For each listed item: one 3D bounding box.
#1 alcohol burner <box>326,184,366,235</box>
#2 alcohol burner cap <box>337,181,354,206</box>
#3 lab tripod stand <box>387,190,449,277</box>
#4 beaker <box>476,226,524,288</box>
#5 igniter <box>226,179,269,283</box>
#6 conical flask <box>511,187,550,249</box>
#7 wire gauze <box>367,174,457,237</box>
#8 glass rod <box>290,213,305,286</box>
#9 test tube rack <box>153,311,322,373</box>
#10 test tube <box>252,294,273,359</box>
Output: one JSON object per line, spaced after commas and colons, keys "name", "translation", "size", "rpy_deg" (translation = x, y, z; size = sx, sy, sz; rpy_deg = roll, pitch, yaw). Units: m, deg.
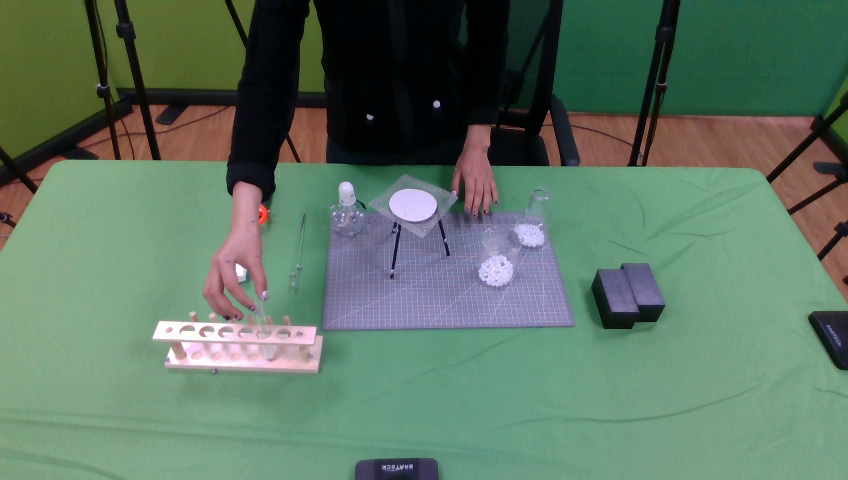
{"name": "alcohol burner", "translation": [-0.152, -0.066, 1.184], "size": [0.078, 0.119, 0.077], "rpy_deg": [4, 46, -4]}
{"name": "alcohol burner cap", "translation": [-0.151, -0.090, 1.157], "size": [0.034, 0.048, 0.033], "rpy_deg": [0, 51, 0]}
{"name": "lab tripod stand", "translation": [-0.021, -0.018, 1.135], "size": [0.148, 0.132, 0.147], "rpy_deg": [3, 44, -3]}
{"name": "beaker", "translation": [0.139, 0.033, 1.121], "size": [0.084, 0.101, 0.073], "rpy_deg": [-12, 48, -16]}
{"name": "igniter", "translation": [-0.345, -0.027, 1.195], "size": [0.057, 0.025, 0.274], "rpy_deg": [-6, 46, 5]}
{"name": "conical flask", "translation": [0.217, -0.048, 1.190], "size": [0.075, 0.122, 0.075], "rpy_deg": [2, 46, -2]}
{"name": "wire gauze", "translation": [-0.021, -0.067, 1.089], "size": [0.124, 0.011, 0.121], "rpy_deg": [28, 49, 21]}
{"name": "glass rod", "translation": [-0.245, 0.015, 1.175], "size": [0.008, 0.008, 0.198], "rpy_deg": [1, 44, -3]}
{"name": "test tube rack", "translation": [-0.293, 0.160, 0.977], "size": [0.242, 0.085, 0.066], "rpy_deg": [3, 46, -2]}
{"name": "test tube", "translation": [-0.248, 0.136, 0.935], "size": [0.017, 0.151, 0.017], "rpy_deg": [3, 44, -2]}
